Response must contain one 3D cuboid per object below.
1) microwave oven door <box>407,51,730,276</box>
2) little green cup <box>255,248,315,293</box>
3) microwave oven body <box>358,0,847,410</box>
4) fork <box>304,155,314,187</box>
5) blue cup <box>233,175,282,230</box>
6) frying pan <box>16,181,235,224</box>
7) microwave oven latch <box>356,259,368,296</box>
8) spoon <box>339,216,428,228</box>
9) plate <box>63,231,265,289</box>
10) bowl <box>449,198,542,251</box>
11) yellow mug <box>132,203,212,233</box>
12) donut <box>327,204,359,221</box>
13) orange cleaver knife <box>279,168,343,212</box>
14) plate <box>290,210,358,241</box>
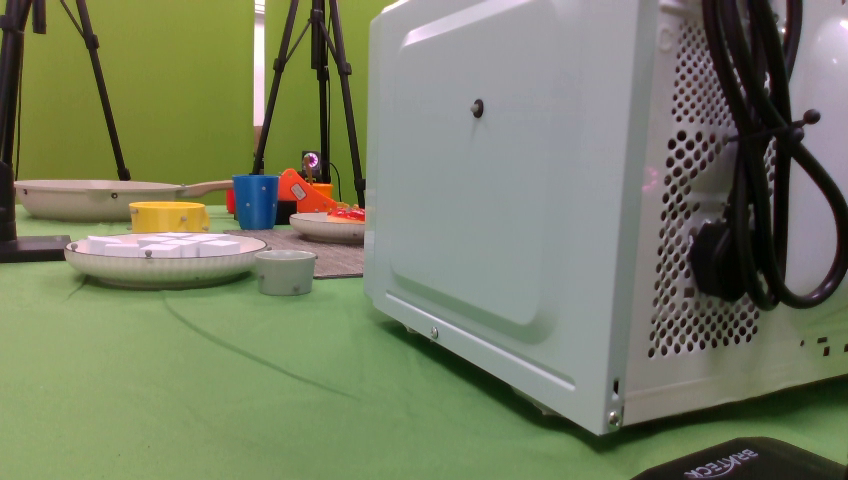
[{"bbox_3d":[0.162,-0.086,0.696,0.356,0.243,0.039,2,8,-1],"label":"microwave oven door"},{"bbox_3d":[-0.144,0.031,0.627,0.061,0.038,0.061,2,6,0],"label":"little green cup"},{"bbox_3d":[0.210,-0.051,0.471,0.444,0.260,0.324,-1,7,-28],"label":"microwave oven body"},{"bbox_3d":[-0.268,-0.134,1.447,0.028,0.018,0.207,2,-36,-1],"label":"fork"},{"bbox_3d":[-0.314,-0.071,1.141,0.093,0.100,0.092,0,7,0],"label":"blue cup"},{"bbox_3d":[-0.554,-0.097,1.266,0.490,0.102,0.305,-10,13,-24],"label":"frying pan"},{"bbox_3d":[-0.019,0.031,0.528,0.079,0.029,0.030,-1,7,-25],"label":"microwave oven latch"},{"bbox_3d":[-0.087,-0.041,1.268,0.193,0.021,0.041,4,25,13],"label":"spoon"},{"bbox_3d":[-0.288,0.021,0.687,0.208,0.039,0.207,2,7,0],"label":"plate"},{"bbox_3d":[0.114,-0.026,0.988,0.151,0.077,0.151,2,8,0],"label":"bowl"},{"bbox_3d":[-0.356,-0.020,0.878,0.099,0.064,0.131,4,7,22],"label":"yellow mug"},{"bbox_3d":[-0.120,-0.037,1.056,0.099,0.048,0.099,5,7,0],"label":"donut"},{"bbox_3d":[-0.236,-0.084,1.333,0.212,0.077,0.012,31,-9,-32],"label":"orange cleaver knife"},{"bbox_3d":[-0.127,-0.025,1.051,0.209,0.038,0.209,2,7,0],"label":"plate"}]
